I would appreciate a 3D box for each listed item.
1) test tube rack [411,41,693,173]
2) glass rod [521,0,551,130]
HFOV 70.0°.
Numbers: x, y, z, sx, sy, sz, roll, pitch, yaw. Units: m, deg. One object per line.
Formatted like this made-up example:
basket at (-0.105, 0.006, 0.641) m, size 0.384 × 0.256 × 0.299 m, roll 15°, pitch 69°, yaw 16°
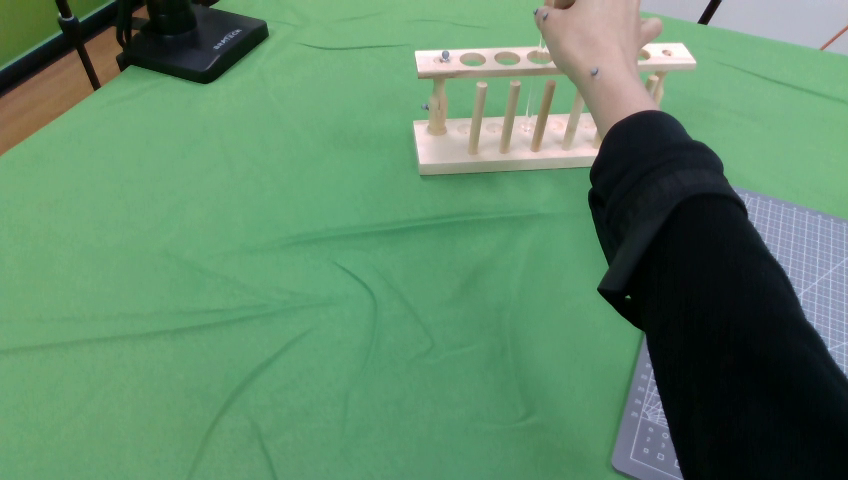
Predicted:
test tube rack at (0.112, -0.119, 0.542) m, size 0.243 × 0.086 × 0.066 m, roll -4°, pitch 47°, yaw -6°
glass rod at (0.095, -0.168, 0.495) m, size 0.008 × 0.201 × 0.008 m, roll 1°, pitch 50°, yaw -1°
